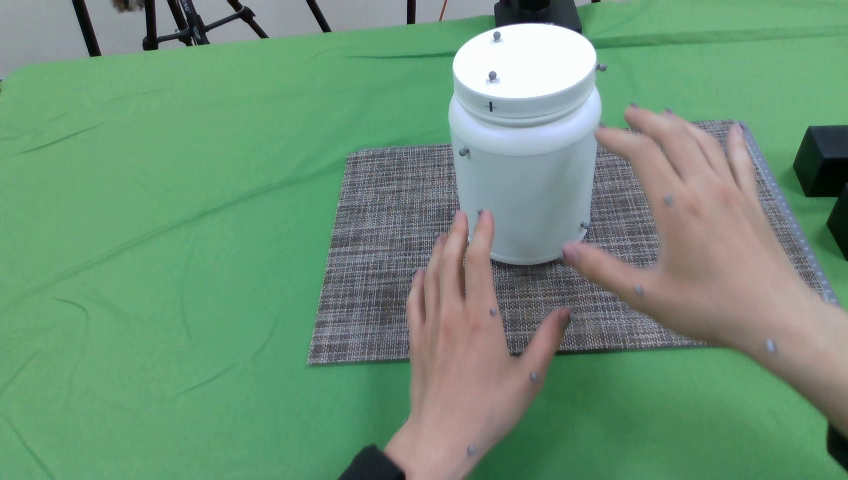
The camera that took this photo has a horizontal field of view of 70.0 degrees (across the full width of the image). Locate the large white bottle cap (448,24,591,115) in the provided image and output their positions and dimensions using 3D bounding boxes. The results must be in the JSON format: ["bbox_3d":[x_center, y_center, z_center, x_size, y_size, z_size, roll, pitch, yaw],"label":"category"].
[{"bbox_3d":[0.077,-0.141,0.492,0.115,0.018,0.113,-4,46,5],"label":"large white bottle cap"}]

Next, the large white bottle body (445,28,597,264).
[{"bbox_3d":[0.087,-0.082,0.553,0.130,0.186,0.129,-5,46,5],"label":"large white bottle body"}]
